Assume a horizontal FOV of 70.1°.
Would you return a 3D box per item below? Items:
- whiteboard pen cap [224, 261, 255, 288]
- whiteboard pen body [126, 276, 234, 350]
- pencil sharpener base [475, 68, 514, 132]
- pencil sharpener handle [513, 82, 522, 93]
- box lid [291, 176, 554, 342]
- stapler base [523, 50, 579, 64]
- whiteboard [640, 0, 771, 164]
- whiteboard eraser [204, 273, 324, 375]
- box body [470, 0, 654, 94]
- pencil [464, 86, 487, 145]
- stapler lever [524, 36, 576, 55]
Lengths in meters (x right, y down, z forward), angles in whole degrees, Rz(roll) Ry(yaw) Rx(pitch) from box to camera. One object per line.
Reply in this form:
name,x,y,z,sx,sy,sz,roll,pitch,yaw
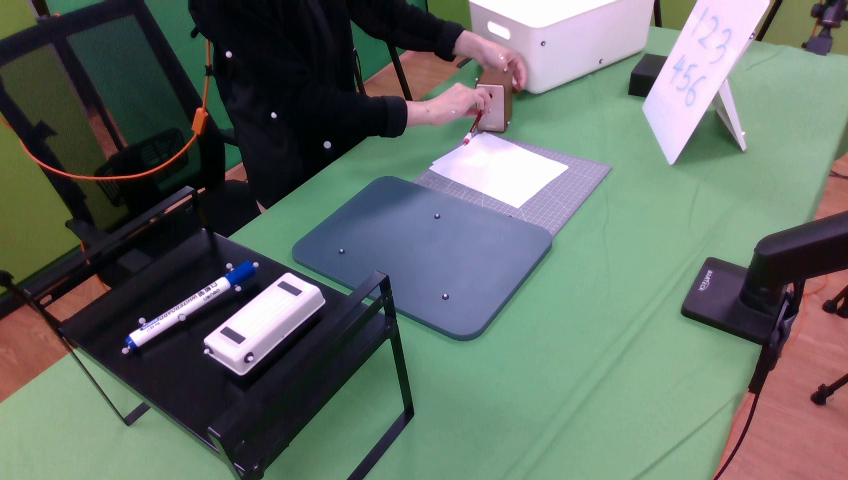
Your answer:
whiteboard pen cap,-0.207,0.039,0.677,0.033,0.018,0.018,-36,47,-18
whiteboard pen body,-0.251,0.071,0.649,0.141,0.017,0.017,-36,48,-26
pencil sharpener base,0.145,-0.284,1.222,0.061,0.107,0.076,7,42,18
pencil sharpener handle,0.171,-0.329,1.243,0.068,0.036,0.030,33,45,-8
box lid,-0.005,0.011,0.972,0.368,0.015,0.264,21,49,30
stapler base,0.301,-0.436,1.434,0.130,0.024,0.041,5,40,17
whiteboard,0.543,-0.299,1.076,0.144,0.305,0.216,12,40,-7
whiteboard eraser,-0.157,0.084,0.605,0.055,0.042,0.113,24,49,30
box body,0.319,-0.498,1.405,0.365,0.161,0.252,-26,43,-21
pencil,0.099,-0.240,1.122,0.012,0.012,0.193,6,49,15
stapler lever,0.296,-0.456,1.418,0.117,0.040,0.027,4,40,17
